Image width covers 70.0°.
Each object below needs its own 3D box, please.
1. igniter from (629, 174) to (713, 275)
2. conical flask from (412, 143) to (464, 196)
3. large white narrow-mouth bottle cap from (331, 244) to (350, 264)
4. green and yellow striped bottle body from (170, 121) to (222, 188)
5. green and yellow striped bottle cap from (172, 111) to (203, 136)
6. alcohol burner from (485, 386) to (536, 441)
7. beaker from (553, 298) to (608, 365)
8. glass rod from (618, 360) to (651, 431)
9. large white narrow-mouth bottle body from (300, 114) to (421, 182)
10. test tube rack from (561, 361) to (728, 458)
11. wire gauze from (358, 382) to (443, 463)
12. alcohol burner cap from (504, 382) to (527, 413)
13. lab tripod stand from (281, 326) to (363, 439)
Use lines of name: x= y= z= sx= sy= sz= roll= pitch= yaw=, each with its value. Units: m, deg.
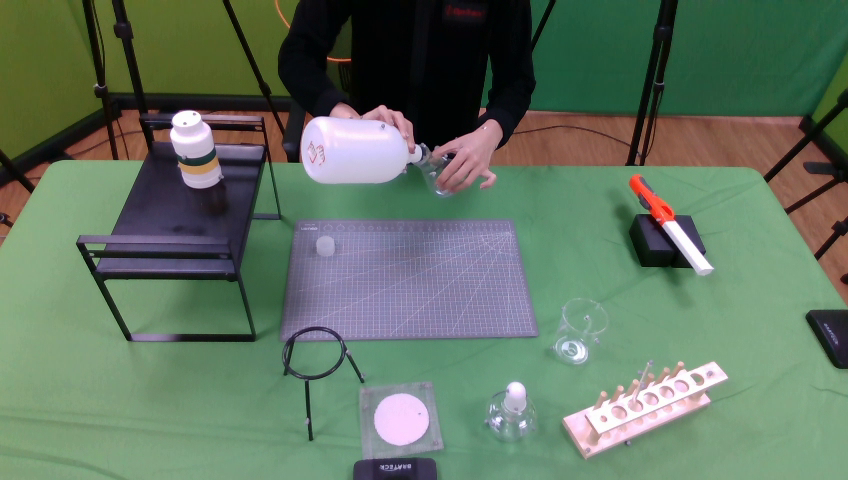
igniter: x=0.481 y=-0.040 z=1.202 sx=0.057 sy=0.025 sz=0.274 roll=-2 pitch=46 yaw=-21
conical flask: x=0.016 y=-0.130 z=1.077 sx=0.075 sy=0.122 sz=0.075 roll=-8 pitch=71 yaw=25
large white narrow-mouth bottle cap: x=-0.160 y=0.026 z=1.161 sx=0.038 sy=0.024 sz=0.037 roll=4 pitch=46 yaw=-4
green and yellow striped bottle body: x=-0.375 y=-0.149 z=0.995 sx=0.063 sy=0.120 sz=0.063 roll=2 pitch=46 yaw=-2
green and yellow striped bottle cap: x=-0.374 y=-0.185 z=0.957 sx=0.045 sy=0.020 sz=0.045 roll=3 pitch=46 yaw=-3
alcohol burner: x=0.131 y=0.249 z=0.904 sx=0.078 sy=0.120 sz=0.077 roll=1 pitch=48 yaw=-1
beaker: x=0.260 y=0.154 z=1.015 sx=0.073 sy=0.101 sz=0.084 roll=37 pitch=54 yaw=27
glass rod: x=0.298 y=0.227 z=0.865 sx=0.008 sy=0.201 sz=0.008 roll=-1 pitch=47 yaw=2
large white narrow-mouth bottle body: x=-0.091 y=-0.142 z=0.966 sx=0.195 sy=0.102 sz=0.101 roll=-2 pitch=43 yaw=-35
test tube rack: x=0.341 y=0.248 z=0.940 sx=0.243 sy=0.085 sz=0.066 roll=-15 pitch=49 yaw=-18
wire gauze: x=-0.039 y=0.276 z=0.937 sx=0.121 sy=0.011 sz=0.124 roll=-4 pitch=47 yaw=-7
alcohol burner cap: x=0.133 y=0.225 z=0.877 sx=0.034 sy=0.048 sz=0.033 roll=-4 pitch=47 yaw=5
lab tripod stand: x=-0.166 y=0.203 z=0.913 sx=0.148 sy=0.132 sz=0.147 roll=1 pitch=47 yaw=-1
